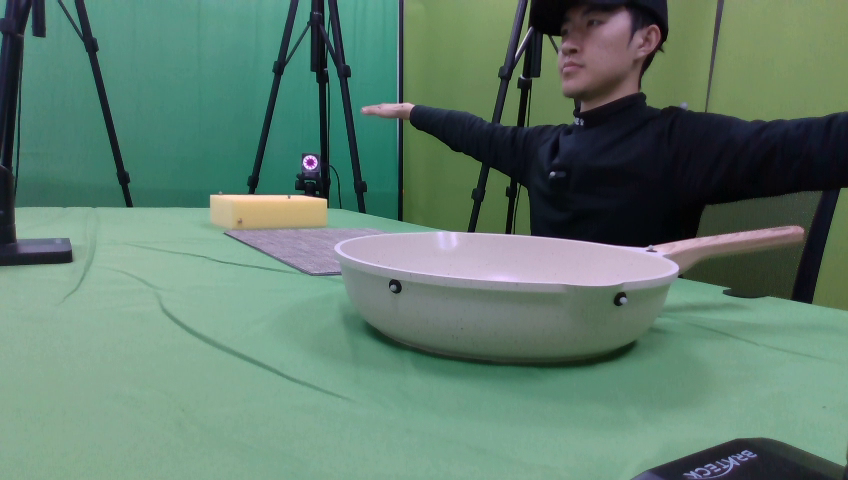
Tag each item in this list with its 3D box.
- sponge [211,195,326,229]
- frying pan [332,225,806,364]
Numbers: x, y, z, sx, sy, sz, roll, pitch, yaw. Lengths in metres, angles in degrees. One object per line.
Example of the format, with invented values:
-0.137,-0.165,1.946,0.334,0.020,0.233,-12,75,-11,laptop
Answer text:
-0.320,-0.060,1.254,0.208,0.061,0.117,-3,8,-39,sponge
0.165,0.024,0.562,0.490,0.102,0.305,-8,11,-16,frying pan
